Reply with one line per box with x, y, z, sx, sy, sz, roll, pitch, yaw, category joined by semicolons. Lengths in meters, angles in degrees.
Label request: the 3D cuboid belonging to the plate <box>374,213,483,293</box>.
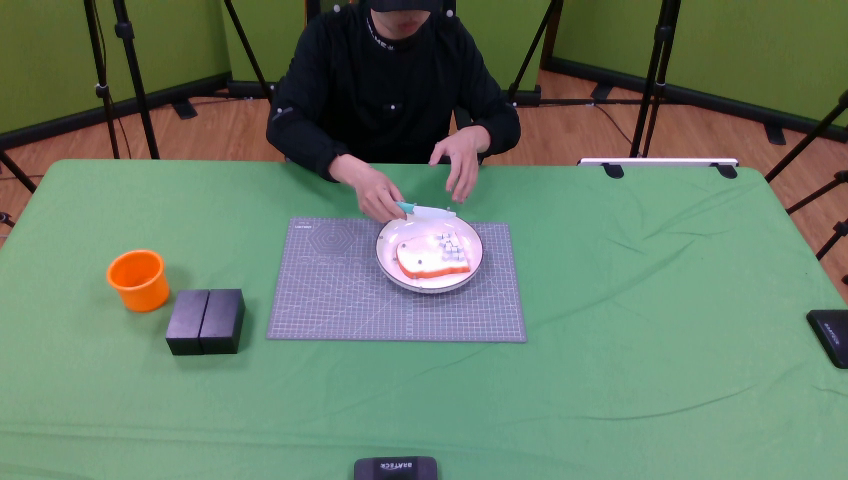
0.009;0.024;1.160;0.209;0.038;0.208;2;46;-2;plate

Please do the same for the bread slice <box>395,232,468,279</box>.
0.011;0.030;1.158;0.132;0.019;0.104;-8;47;-14;bread slice

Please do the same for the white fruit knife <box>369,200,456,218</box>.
-0.025;-0.057;1.125;0.206;0.027;0.016;8;24;36;white fruit knife
